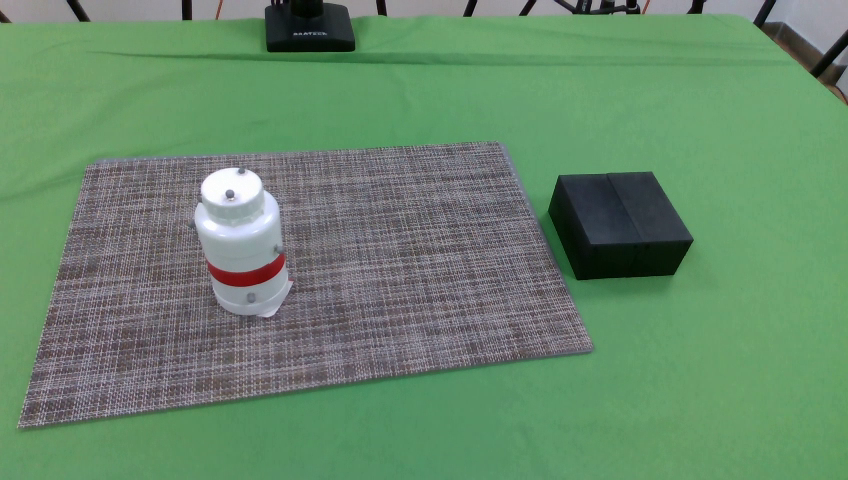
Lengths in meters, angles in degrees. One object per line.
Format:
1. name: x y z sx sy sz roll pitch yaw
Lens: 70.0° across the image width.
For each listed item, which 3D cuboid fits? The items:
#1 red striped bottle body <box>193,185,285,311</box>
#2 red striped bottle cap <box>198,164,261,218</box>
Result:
1. red striped bottle body: -0.149 -0.001 0.493 0.063 0.120 0.062 4 47 -3
2. red striped bottle cap: -0.146 -0.038 0.454 0.044 0.018 0.044 6 46 -6
